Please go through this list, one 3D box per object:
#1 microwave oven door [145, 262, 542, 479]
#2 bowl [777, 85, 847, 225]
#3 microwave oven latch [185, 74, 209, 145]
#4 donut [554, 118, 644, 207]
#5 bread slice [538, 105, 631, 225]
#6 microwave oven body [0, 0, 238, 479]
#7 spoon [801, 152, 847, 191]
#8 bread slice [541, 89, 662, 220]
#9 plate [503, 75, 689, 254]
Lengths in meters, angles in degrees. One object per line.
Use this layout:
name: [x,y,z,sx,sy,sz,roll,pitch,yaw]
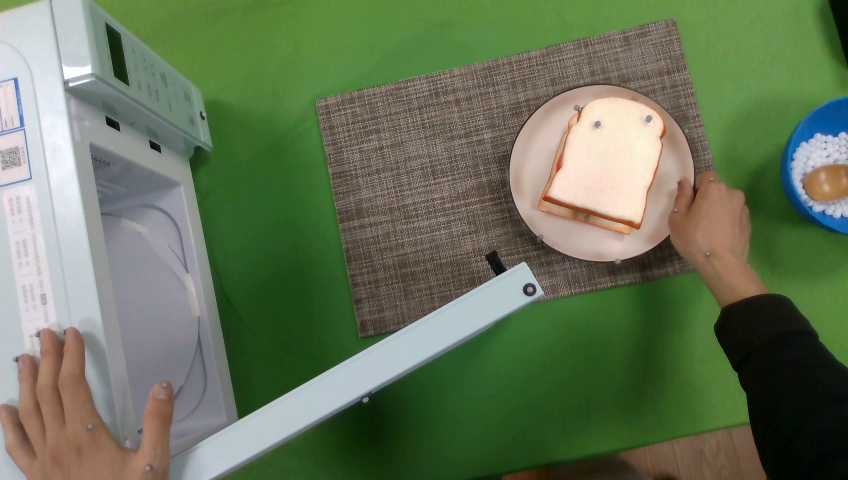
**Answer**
microwave oven door: [-0.057,0.123,0.587,0.356,0.244,0.039,-30,82,1]
bowl: [0.455,-0.085,0.666,0.151,0.077,0.151,0,84,4]
microwave oven latch: [-0.284,-0.157,0.732,0.030,0.029,0.079,-14,84,2]
donut: [0.194,-0.086,0.675,0.099,0.048,0.099,0,86,5]
bread slice: [0.197,-0.092,0.703,0.107,0.018,0.134,12,85,6]
microwave oven body: [-0.395,0.039,0.625,0.326,0.261,0.440,-14,84,2]
spoon: [0.502,-0.094,0.631,0.193,0.022,0.041,-18,78,24]
bread slice: [0.194,-0.097,0.646,0.104,0.019,0.131,17,84,12]
plate: [0.195,-0.085,0.702,0.207,0.039,0.207,0,85,4]
